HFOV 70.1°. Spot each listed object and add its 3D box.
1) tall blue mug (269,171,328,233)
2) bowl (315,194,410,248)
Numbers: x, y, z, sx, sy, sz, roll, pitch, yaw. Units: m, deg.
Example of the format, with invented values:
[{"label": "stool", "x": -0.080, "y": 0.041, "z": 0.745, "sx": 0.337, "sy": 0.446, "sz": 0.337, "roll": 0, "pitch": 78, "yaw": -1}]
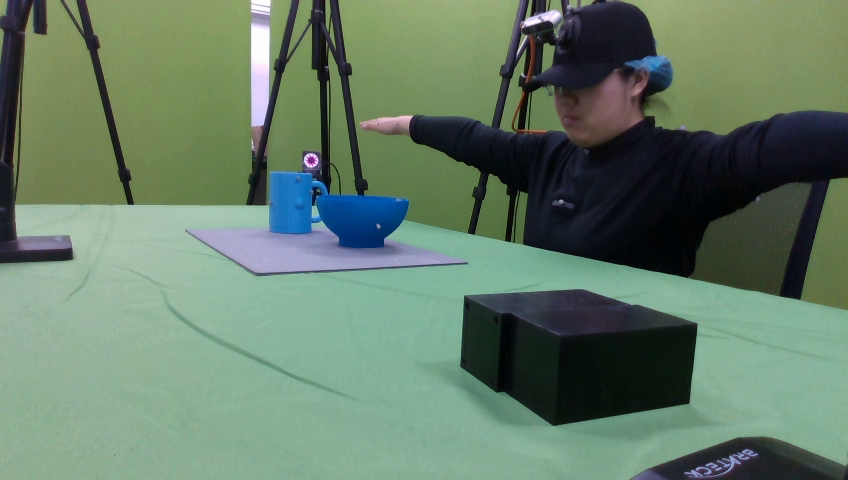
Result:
[{"label": "tall blue mug", "x": -0.236, "y": -0.071, "z": 1.118, "sx": 0.077, "sy": 0.108, "sz": 0.107, "roll": 5, "pitch": 8, "yaw": 25}, {"label": "bowl", "x": -0.100, "y": -0.031, "z": 0.971, "sx": 0.151, "sy": 0.077, "sz": 0.151, "roll": 2, "pitch": 7, "yaw": 0}]
